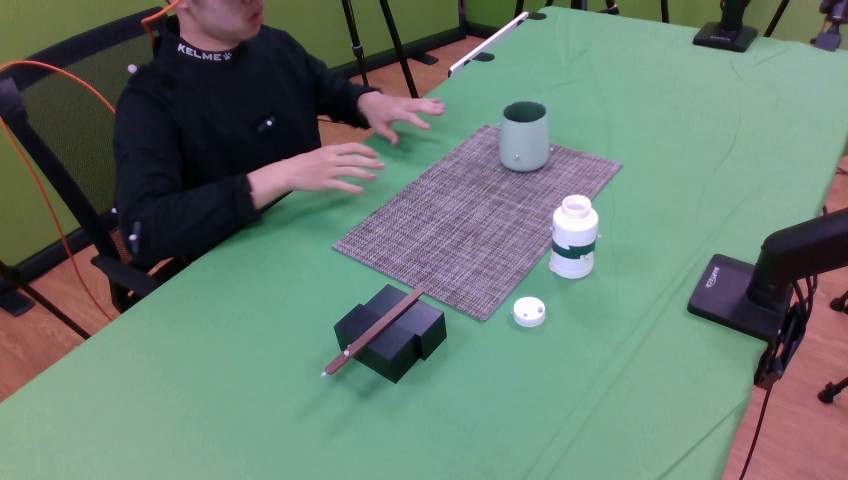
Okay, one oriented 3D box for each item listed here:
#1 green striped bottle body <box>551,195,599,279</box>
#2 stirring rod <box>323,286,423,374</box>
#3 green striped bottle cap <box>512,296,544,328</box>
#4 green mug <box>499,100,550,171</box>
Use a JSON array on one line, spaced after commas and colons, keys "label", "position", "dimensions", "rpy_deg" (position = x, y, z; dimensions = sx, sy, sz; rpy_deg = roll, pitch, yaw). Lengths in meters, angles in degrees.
[{"label": "green striped bottle body", "position": [0.217, -0.006, 0.870], "dimensions": [0.063, 0.120, 0.063], "rpy_deg": [-4, 41, 4]}, {"label": "stirring rod", "position": [-0.062, 0.113, 0.781], "dimensions": [0.014, 0.006, 0.177], "rpy_deg": [26, 50, 33]}, {"label": "green striped bottle cap", "position": [0.144, 0.099, 0.837], "dimensions": [0.044, 0.020, 0.044], "rpy_deg": [-1, 43, 2]}, {"label": "green mug", "position": [0.183, -0.197, 1.101], "dimensions": [0.092, 0.105, 0.125], "rpy_deg": [-1, 41, 8]}]
